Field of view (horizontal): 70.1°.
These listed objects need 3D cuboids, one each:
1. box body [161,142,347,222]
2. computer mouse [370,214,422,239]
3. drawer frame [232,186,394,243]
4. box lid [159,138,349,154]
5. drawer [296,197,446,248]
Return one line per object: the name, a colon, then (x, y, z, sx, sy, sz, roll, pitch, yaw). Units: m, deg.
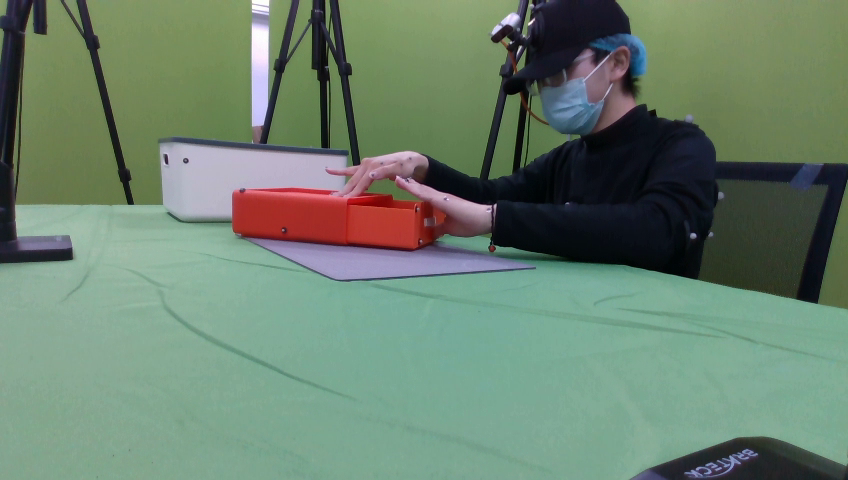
box body: (-0.380, -0.132, 1.352, 0.366, 0.160, 0.253, -2, 9, -30)
computer mouse: (-0.046, -0.024, 1.022, 0.062, 0.041, 0.117, 2, 2, 15)
drawer frame: (-0.186, -0.049, 1.059, 0.213, 0.082, 0.202, 4, 8, 17)
box lid: (-0.376, -0.206, 1.344, 0.373, 0.015, 0.262, -1, 8, -30)
drawer: (-0.084, -0.038, 1.030, 0.211, 0.073, 0.195, 3, 8, 16)
